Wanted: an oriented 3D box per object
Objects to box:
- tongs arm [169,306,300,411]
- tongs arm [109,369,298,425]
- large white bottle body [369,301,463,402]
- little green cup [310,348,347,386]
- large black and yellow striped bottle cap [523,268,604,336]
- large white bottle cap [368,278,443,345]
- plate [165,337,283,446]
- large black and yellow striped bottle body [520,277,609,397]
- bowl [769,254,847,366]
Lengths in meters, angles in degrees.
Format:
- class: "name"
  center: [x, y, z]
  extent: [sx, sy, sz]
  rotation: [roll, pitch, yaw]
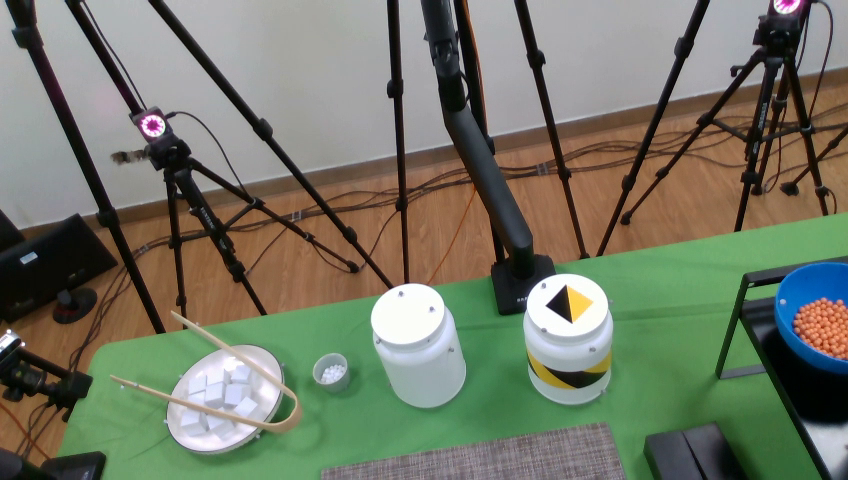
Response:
- class: "tongs arm"
  center: [-0.348, 0.200, 1.083]
  extent: [0.384, 0.028, 0.028]
  rotation: [23, 50, 33]
- class: "tongs arm"
  center: [-0.388, 0.257, 1.038]
  extent: [0.382, 0.027, 0.050]
  rotation: [10, 47, 25]
- class: "large white bottle body"
  center: [-0.013, 0.162, 0.977]
  extent: [0.130, 0.186, 0.129]
  rotation: [-7, 47, 8]
- class: "little green cup"
  center: [-0.165, 0.224, 1.058]
  extent: [0.061, 0.039, 0.061]
  rotation: [-6, 48, 7]
- class: "large black and yellow striped bottle cap"
  center: [0.202, 0.088, 0.878]
  extent: [0.115, 0.019, 0.114]
  rotation: [-6, 47, 7]
- class: "large white bottle cap"
  center: [-0.029, 0.106, 0.915]
  extent: [0.115, 0.018, 0.113]
  rotation: [-7, 47, 8]
- class: "plate"
  center: [-0.346, 0.266, 1.064]
  extent: [0.207, 0.039, 0.205]
  rotation: [-7, 47, 8]
- class: "large black and yellow striped bottle body"
  center: [0.217, 0.145, 0.938]
  extent: [0.130, 0.186, 0.129]
  rotation: [-7, 47, 8]
- class: "bowl"
  center: [0.496, 0.098, 0.737]
  extent: [0.151, 0.077, 0.150]
  rotation: [-6, 47, 7]
